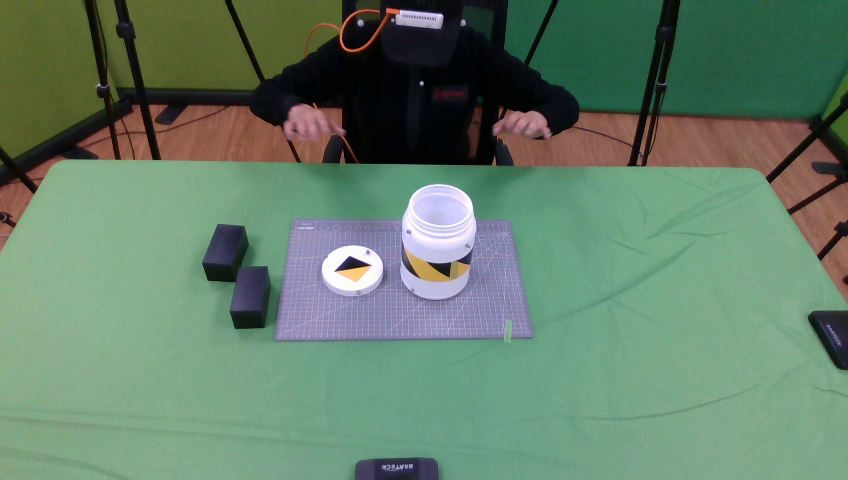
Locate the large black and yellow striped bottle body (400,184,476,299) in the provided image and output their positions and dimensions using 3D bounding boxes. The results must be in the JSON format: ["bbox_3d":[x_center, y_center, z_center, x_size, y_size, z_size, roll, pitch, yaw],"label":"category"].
[{"bbox_3d":[0.024,0.003,1.079,0.131,0.185,0.130,2,46,-2],"label":"large black and yellow striped bottle body"}]

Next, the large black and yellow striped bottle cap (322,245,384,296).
[{"bbox_3d":[-0.133,0.055,1.135,0.115,0.019,0.114,2,47,-2],"label":"large black and yellow striped bottle cap"}]
